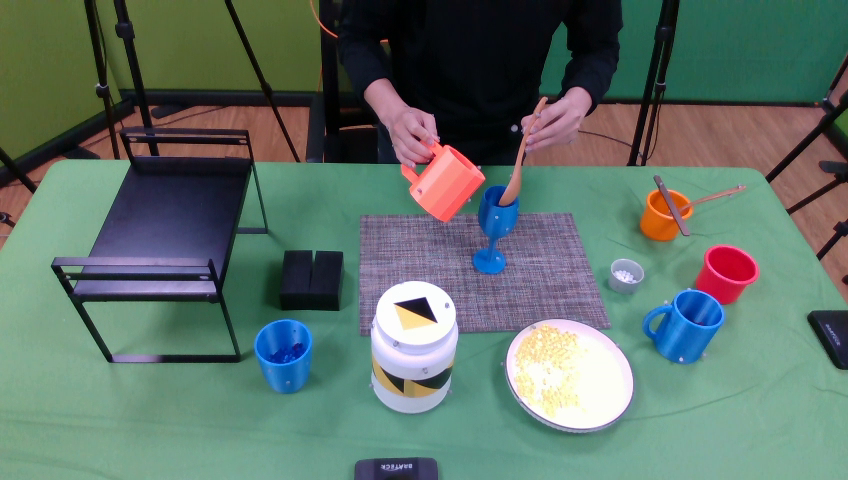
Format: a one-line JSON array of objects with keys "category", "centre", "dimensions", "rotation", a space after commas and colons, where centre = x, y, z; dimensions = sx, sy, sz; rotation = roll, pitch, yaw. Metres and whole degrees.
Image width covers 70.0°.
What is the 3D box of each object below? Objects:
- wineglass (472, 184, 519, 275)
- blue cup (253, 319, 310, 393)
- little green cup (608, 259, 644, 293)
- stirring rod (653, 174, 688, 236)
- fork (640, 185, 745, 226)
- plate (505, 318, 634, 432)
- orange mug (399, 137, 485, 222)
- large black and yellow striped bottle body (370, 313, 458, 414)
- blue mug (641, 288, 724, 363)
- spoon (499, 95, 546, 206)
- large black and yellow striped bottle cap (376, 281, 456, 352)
[{"category": "wineglass", "centre": [0.129, -0.018, 1.112], "dimensions": [0.074, 0.173, 0.073], "rotation": [2, 46, -2]}, {"category": "blue cup", "centre": [-0.217, 0.187, 0.943], "dimensions": [0.093, 0.101, 0.092], "rotation": [4, 45, -3]}, {"category": "little green cup", "centre": [0.379, 0.070, 1.147], "dimensions": [0.061, 0.039, 0.061], "rotation": [3, 45, -3]}, {"category": "stirring rod", "centre": [0.491, -0.072, 1.211], "dimensions": [0.014, 0.006, 0.175], "rotation": [0, 47, -6]}, {"category": "fork", "centre": [0.534, -0.069, 1.215], "dimensions": [0.207, 0.019, 0.028], "rotation": [-26, 27, 33]}, {"category": "plate", "centre": [0.235, 0.221, 0.991], "dimensions": [0.209, 0.038, 0.208], "rotation": [2, 46, -2]}, {"category": "orange mug", "centre": [0.024, -0.106, 0.993], "dimensions": [0.126, 0.101, 0.083], "rotation": [47, 17, 5]}, {"category": "large black and yellow striped bottle body", "centre": [-0.017, 0.165, 0.924], "dimensions": [0.131, 0.185, 0.130], "rotation": [2, 46, -2]}, {"category": "blue mug", "centre": [0.432, 0.144, 1.033], "dimensions": [0.116, 0.106, 0.082], "rotation": [8, 46, 5]}, {"category": "spoon", "centre": [0.164, -0.145, 1.005], "dimensions": [0.021, 0.194, 0.042], "rotation": [28, 21, 37]}, {"category": "large black and yellow striped bottle cap", "centre": [-0.011, 0.107, 0.863], "dimensions": [0.115, 0.019, 0.114], "rotation": [2, 47, -2]}]
